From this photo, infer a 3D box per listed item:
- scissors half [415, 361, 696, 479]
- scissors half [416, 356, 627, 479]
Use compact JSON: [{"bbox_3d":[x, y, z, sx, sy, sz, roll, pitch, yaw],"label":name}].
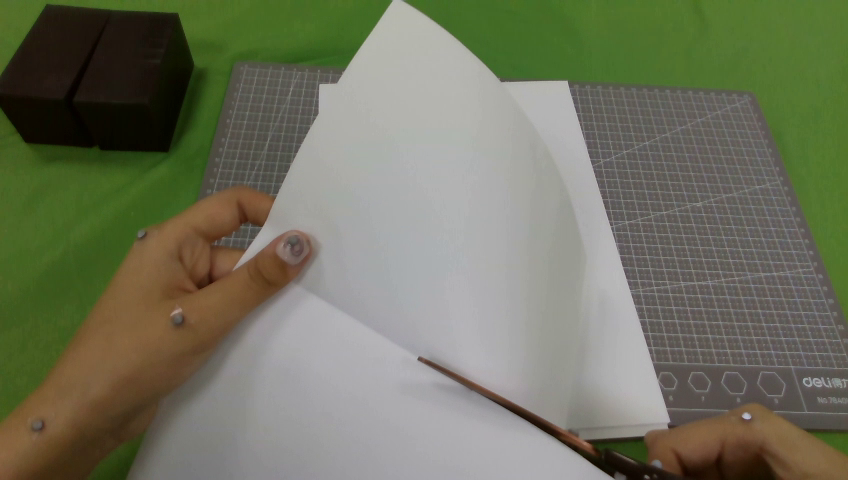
[{"bbox_3d":[0.074,0.088,0.252,0.174,0.040,0.013,22,68,17],"label":"scissors half"},{"bbox_3d":[0.072,0.095,0.273,0.176,0.040,0.012,31,74,-9],"label":"scissors half"}]
